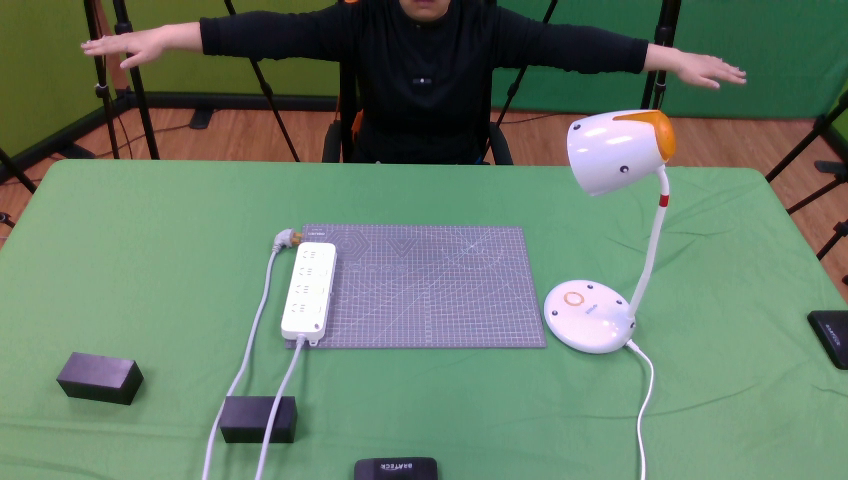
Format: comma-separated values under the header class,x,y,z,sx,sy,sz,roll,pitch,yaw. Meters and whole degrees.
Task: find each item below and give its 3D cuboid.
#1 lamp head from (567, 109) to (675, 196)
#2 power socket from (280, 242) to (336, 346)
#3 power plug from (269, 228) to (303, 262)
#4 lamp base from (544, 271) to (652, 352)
class,x,y,z,sx,sy,sz,roll,pitch,yaw
lamp head,0.272,-0.123,0.818,0.122,0.113,0.112,-9,35,37
power socket,-0.206,0.087,1.087,0.072,0.033,0.225,3,46,-1
power plug,-0.265,0.012,1.172,0.052,0.035,0.072,8,81,9
lamp base,0.309,0.086,1.029,0.178,0.181,0.160,32,52,21
